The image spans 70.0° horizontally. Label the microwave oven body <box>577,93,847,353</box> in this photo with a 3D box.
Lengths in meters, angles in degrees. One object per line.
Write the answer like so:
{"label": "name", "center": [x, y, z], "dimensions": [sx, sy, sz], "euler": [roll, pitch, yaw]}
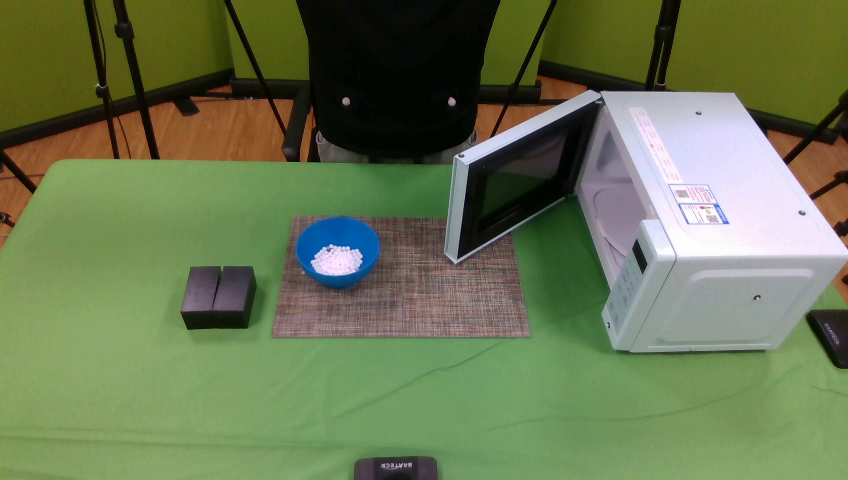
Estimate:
{"label": "microwave oven body", "center": [0.475, -0.041, 1.109], "dimensions": [0.326, 0.261, 0.438], "euler": [-1, 45, -4]}

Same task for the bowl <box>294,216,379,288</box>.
{"label": "bowl", "center": [-0.158, 0.036, 1.110], "dimensions": [0.151, 0.077, 0.150], "euler": [3, 45, -2]}

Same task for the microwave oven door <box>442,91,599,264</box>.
{"label": "microwave oven door", "center": [0.188, -0.123, 1.160], "dimensions": [0.356, 0.245, 0.039], "euler": [-29, 54, -28]}

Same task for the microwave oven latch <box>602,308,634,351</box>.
{"label": "microwave oven latch", "center": [0.332, 0.153, 1.044], "dimensions": [0.030, 0.029, 0.078], "euler": [-1, 45, -4]}
